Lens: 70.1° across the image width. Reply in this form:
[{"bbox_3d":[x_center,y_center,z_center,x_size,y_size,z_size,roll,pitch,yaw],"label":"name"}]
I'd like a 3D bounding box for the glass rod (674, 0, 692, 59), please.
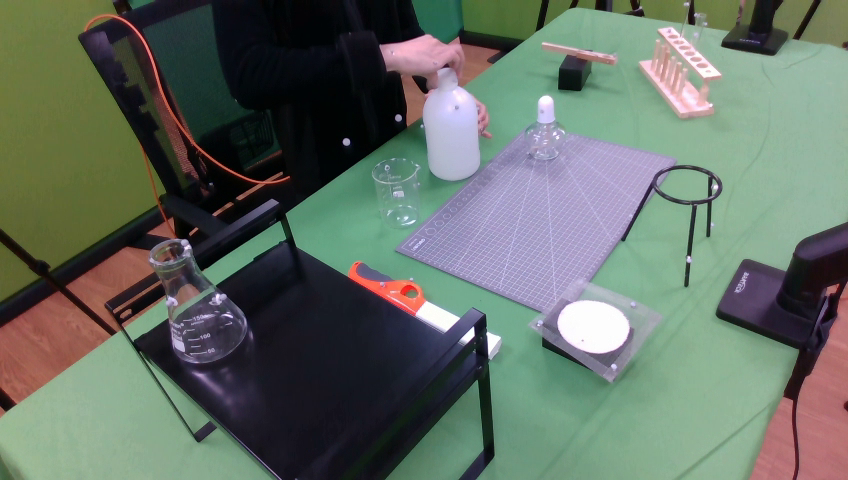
[{"bbox_3d":[0.536,-0.436,1.257,0.008,0.200,0.008,0,39,1],"label":"glass rod"}]

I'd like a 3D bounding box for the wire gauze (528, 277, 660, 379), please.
[{"bbox_3d":[0.213,0.103,0.763,0.124,0.011,0.122,30,52,35],"label":"wire gauze"}]

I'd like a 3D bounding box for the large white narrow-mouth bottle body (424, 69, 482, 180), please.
[{"bbox_3d":[0.052,-0.211,1.090,0.102,0.195,0.101,-4,41,4],"label":"large white narrow-mouth bottle body"}]

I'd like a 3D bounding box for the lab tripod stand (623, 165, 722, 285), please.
[{"bbox_3d":[0.365,-0.030,0.874,0.148,0.132,0.147,-6,41,6],"label":"lab tripod stand"}]

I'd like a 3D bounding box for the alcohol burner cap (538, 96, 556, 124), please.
[{"bbox_3d":[0.222,-0.237,1.095,0.034,0.048,0.033,-7,34,5],"label":"alcohol burner cap"}]

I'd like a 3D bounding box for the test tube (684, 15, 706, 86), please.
[{"bbox_3d":[0.541,-0.378,1.215,0.017,0.151,0.017,-2,44,3],"label":"test tube"}]

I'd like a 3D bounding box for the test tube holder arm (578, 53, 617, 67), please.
[{"bbox_3d":[0.376,-0.393,1.314,0.087,0.015,0.010,26,51,32],"label":"test tube holder arm"}]

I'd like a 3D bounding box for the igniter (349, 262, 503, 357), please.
[{"bbox_3d":[-0.008,0.093,0.870,0.274,0.025,0.057,24,60,33],"label":"igniter"}]

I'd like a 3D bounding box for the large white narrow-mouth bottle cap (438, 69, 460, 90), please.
[{"bbox_3d":[0.043,-0.276,1.033,0.038,0.024,0.037,-4,41,4],"label":"large white narrow-mouth bottle cap"}]

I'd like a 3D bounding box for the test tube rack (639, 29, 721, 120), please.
[{"bbox_3d":[0.527,-0.351,1.262,0.067,0.085,0.241,-8,40,1],"label":"test tube rack"}]

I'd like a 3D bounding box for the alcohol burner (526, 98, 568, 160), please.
[{"bbox_3d":[0.228,-0.210,1.118,0.078,0.119,0.077,-5,43,5],"label":"alcohol burner"}]

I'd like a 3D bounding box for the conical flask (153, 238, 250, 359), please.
[{"bbox_3d":[-0.225,0.055,0.597,0.075,0.122,0.075,-5,41,4],"label":"conical flask"}]

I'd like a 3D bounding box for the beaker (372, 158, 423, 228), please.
[{"bbox_3d":[-0.039,-0.078,1.022,0.084,0.101,0.073,-16,41,-11],"label":"beaker"}]

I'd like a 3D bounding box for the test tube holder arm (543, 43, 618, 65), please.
[{"bbox_3d":[0.345,-0.413,1.341,0.177,0.015,0.013,25,51,31],"label":"test tube holder arm"}]
